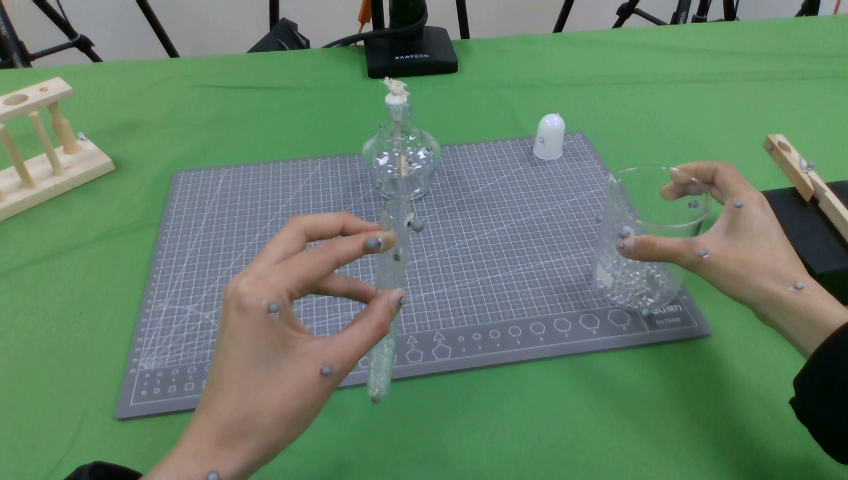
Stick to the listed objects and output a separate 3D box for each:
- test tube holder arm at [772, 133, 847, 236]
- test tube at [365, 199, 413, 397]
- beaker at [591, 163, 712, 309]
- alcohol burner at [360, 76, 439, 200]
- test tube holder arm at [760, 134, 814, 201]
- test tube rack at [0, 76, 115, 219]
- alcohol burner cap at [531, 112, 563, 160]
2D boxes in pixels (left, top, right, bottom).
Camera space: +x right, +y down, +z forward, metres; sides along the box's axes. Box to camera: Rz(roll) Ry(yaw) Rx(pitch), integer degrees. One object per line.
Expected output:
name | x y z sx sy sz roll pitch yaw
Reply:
test tube holder arm | 0.340 -0.038 0.515 0.013 0.015 0.176 -10 43 2
test tube | -0.022 0.040 0.340 0.017 0.151 0.017 5 40 -4
beaker | 0.172 -0.001 0.482 0.074 0.101 0.083 -30 50 -24
alcohol burner | -0.024 -0.099 0.579 0.078 0.120 0.077 -1 42 2
test tube holder arm | 0.330 -0.067 0.548 0.010 0.015 0.087 -9 43 2
test tube rack | -0.436 -0.063 0.569 0.066 0.086 0.242 33 52 31
alcohol burner cap | 0.133 -0.114 0.647 0.034 0.048 0.033 0 43 0
